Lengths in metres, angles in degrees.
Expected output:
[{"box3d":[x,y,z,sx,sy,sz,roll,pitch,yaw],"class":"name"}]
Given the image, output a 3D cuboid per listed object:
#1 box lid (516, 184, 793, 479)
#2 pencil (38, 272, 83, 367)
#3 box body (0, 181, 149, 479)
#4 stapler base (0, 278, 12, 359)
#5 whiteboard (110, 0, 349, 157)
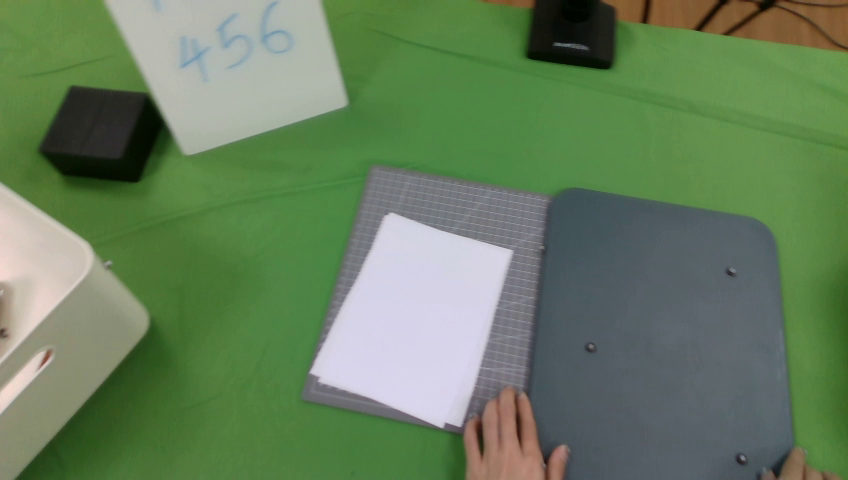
[{"box3d":[0.248,0.109,0.644,0.263,0.015,0.369,10,63,4],"class":"box lid"},{"box3d":[-0.391,0.122,0.628,0.012,0.012,0.192,7,63,4],"class":"pencil"},{"box3d":[-0.492,0.054,0.583,0.362,0.161,0.253,30,66,14],"class":"box body"},{"box3d":[-0.465,0.097,0.632,0.041,0.024,0.129,-9,65,-3],"class":"stapler base"},{"box3d":[-0.240,-0.291,0.718,0.217,0.308,0.142,-20,45,-10],"class":"whiteboard"}]
